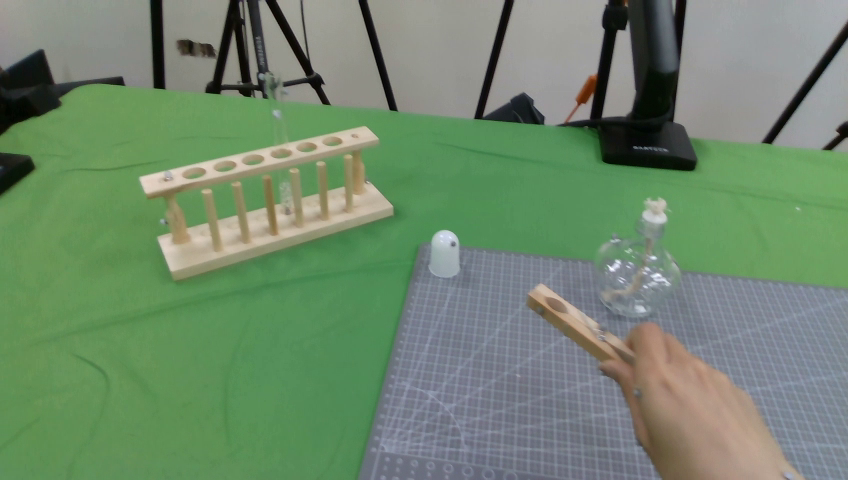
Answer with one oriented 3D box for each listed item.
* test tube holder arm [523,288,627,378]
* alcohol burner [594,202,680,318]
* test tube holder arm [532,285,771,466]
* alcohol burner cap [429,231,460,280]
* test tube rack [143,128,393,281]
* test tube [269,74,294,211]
[{"bbox_3d":[0.104,0.063,0.419,0.010,0.015,0.087,-38,56,-24],"label":"test tube holder arm"},{"bbox_3d":[0.199,0.014,0.556,0.078,0.120,0.077,2,39,-1],"label":"alcohol burner"},{"bbox_3d":[0.140,0.083,0.398,0.177,0.015,0.013,35,61,30],"label":"test tube holder arm"},{"bbox_3d":[0.022,0.013,0.609,0.034,0.048,0.033,2,38,-1],"label":"alcohol burner cap"},{"bbox_3d":[-0.155,-0.043,0.644,0.243,0.086,0.066,-18,41,-25],"label":"test tube rack"},{"bbox_3d":[-0.149,-0.098,0.634,0.017,0.151,0.017,2,32,-1],"label":"test tube"}]
